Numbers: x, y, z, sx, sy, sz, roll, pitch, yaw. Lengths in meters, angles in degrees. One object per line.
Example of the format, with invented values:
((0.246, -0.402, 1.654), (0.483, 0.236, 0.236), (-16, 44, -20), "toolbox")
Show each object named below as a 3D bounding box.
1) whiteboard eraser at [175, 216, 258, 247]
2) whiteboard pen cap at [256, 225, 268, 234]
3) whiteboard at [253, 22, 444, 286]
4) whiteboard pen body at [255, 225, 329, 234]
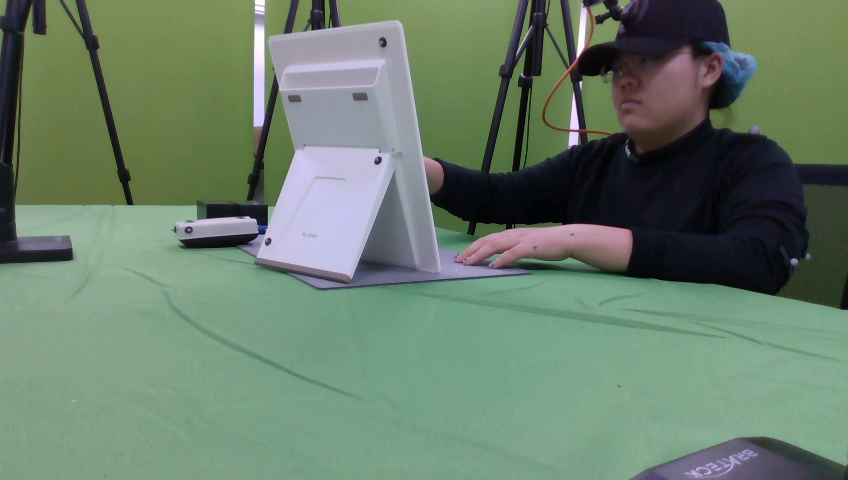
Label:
((-0.313, -0.012, 0.915), (0.113, 0.042, 0.055), (-5, 12, -30), "whiteboard eraser")
((-0.288, -0.019, 1.071), (0.033, 0.018, 0.018), (-4, 10, -34), "whiteboard pen cap")
((-0.125, -0.081, 0.715), (0.216, 0.305, 0.144), (9, 29, 36), "whiteboard")
((-0.239, -0.019, 1.105), (0.141, 0.017, 0.017), (-1, 8, -34), "whiteboard pen body")
